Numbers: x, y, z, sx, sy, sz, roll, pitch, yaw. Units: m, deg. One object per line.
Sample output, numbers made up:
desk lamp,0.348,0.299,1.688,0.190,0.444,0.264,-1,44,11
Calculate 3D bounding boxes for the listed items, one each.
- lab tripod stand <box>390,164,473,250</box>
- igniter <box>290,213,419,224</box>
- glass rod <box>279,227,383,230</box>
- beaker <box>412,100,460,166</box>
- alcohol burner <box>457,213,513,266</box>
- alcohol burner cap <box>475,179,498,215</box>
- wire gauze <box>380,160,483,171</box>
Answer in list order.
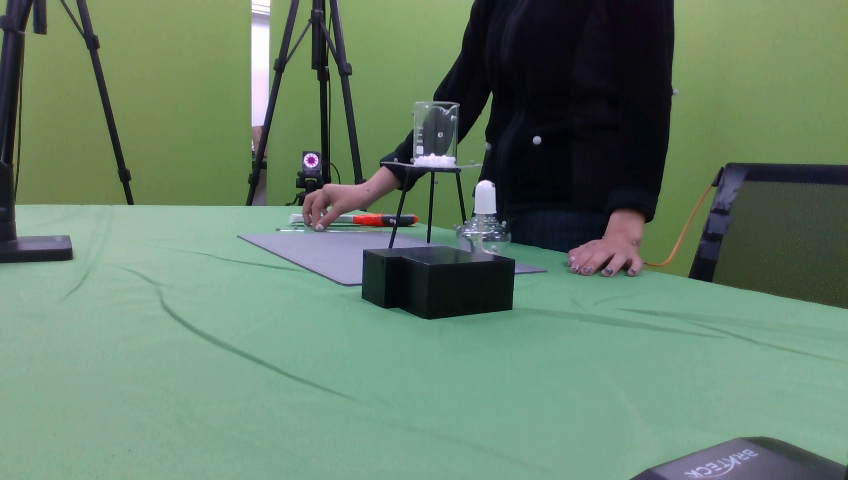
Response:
lab tripod stand,0.012,-0.054,0.960,0.148,0.131,0.148,2,9,0
igniter,-0.143,-0.046,1.288,0.278,0.025,0.057,-1,-3,-24
glass rod,-0.177,-0.023,1.166,0.200,0.008,0.008,0,7,-16
beaker,0.020,-0.167,0.953,0.073,0.100,0.084,5,9,26
alcohol burner,0.084,-0.025,0.837,0.078,0.119,0.078,0,8,0
alcohol burner cap,0.086,-0.061,0.833,0.034,0.048,0.034,0,11,0
wire gauze,0.011,-0.119,0.951,0.122,0.011,0.124,-5,12,-32
